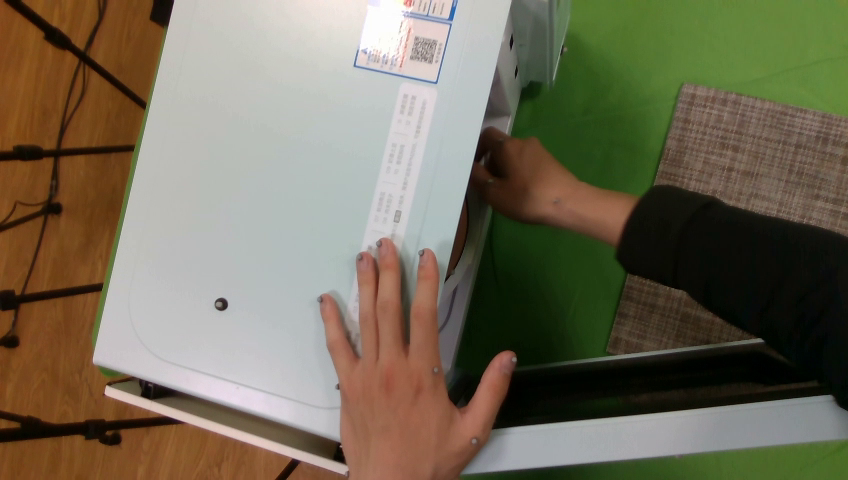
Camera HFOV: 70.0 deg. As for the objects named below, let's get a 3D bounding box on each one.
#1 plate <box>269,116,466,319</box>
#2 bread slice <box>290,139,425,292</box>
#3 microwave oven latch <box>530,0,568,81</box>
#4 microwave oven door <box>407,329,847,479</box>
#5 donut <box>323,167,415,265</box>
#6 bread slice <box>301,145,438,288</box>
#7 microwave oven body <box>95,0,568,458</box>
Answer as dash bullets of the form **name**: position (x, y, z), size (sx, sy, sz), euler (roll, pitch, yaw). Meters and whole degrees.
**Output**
- **plate**: position (-0.058, -0.022, 0.633), size (0.207, 0.039, 0.207), euler (0, 89, 11)
- **bread slice**: position (-0.073, -0.028, 0.578), size (0.105, 0.019, 0.131), euler (-28, 86, 13)
- **microwave oven latch**: position (0.132, -0.213, 0.643), size (0.030, 0.029, 0.079), euler (14, 93, 11)
- **microwave oven door**: position (0.182, 0.134, 0.526), size (0.355, 0.244, 0.039), euler (-10, 86, 11)
- **donut**: position (-0.056, -0.024, 0.605), size (0.099, 0.048, 0.099), euler (0, 89, 17)
- **bread slice**: position (-0.065, -0.030, 0.631), size (0.107, 0.018, 0.134), euler (-34, 84, 2)
- **microwave oven body**: position (-0.070, -0.078, 0.583), size (0.325, 0.261, 0.441), euler (14, 92, 11)
